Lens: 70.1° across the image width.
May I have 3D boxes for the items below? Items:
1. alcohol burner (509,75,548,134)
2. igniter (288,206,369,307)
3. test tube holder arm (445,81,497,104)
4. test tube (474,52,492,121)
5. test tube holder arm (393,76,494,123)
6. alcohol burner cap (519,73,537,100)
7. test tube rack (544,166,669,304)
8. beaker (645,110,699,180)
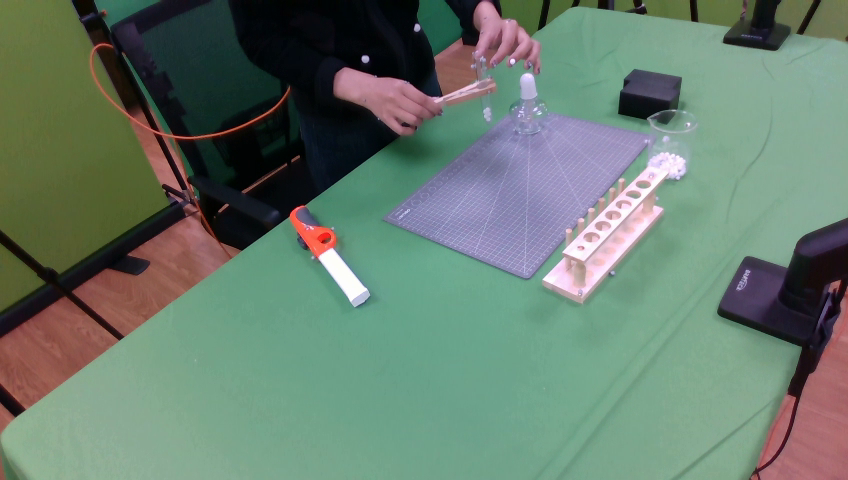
[{"bbox_3d":[0.204,-0.270,1.186,0.078,0.119,0.077,-5,42,5],"label":"alcohol burner"},{"bbox_3d":[-0.163,0.018,0.986,0.057,0.025,0.274,-33,45,-12],"label":"igniter"},{"bbox_3d":[0.077,-0.243,1.003,0.087,0.015,0.010,-13,57,9],"label":"test tube holder arm"},{"bbox_3d":[0.099,-0.251,1.006,0.017,0.151,0.017,-6,58,9],"label":"test tube"},{"bbox_3d":[0.033,-0.234,1.011,0.178,0.015,0.013,-20,56,5],"label":"test tube holder arm"},{"bbox_3d":[0.198,-0.298,1.163,0.034,0.048,0.033,-9,37,7],"label":"alcohol burner cap"},{"bbox_3d":[0.274,-0.018,0.903,0.066,0.085,0.243,26,51,35],"label":"test tube rack"},{"bbox_3d":[0.417,-0.160,1.032,0.083,0.101,0.074,25,51,34],"label":"beaker"}]
